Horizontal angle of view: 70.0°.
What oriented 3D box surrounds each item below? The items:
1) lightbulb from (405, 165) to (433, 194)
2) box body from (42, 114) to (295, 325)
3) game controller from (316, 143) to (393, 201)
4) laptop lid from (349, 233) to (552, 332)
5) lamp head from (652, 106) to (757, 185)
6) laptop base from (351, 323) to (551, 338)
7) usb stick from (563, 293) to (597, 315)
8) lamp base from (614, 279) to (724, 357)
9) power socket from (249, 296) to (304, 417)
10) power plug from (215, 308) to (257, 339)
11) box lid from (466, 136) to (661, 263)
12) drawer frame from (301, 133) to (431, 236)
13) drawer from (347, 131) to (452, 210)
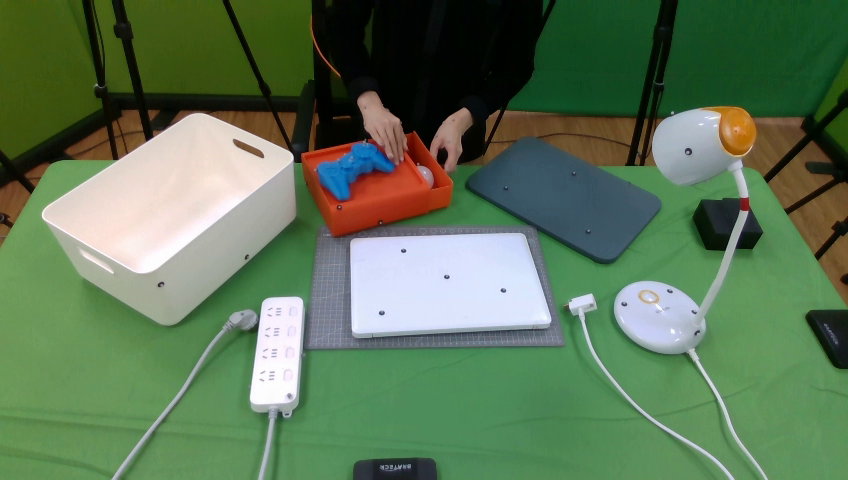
[{"bbox_3d":[-0.023,-0.112,1.273,0.059,0.060,0.107,27,61,20],"label":"lightbulb"},{"bbox_3d":[-0.437,-0.046,1.110,0.253,0.161,0.363,24,49,19],"label":"box body"},{"bbox_3d":[-0.143,-0.146,1.212,0.096,0.052,0.155,32,50,29],"label":"game controller"},{"bbox_3d":[0.040,0.070,1.119,0.357,0.013,0.240,-1,44,-5],"label":"laptop lid"},{"bbox_3d":[0.410,-0.139,0.869,0.113,0.122,0.112,0,89,-19],"label":"lamp head"},{"bbox_3d":[0.040,0.080,1.125,0.355,0.023,0.234,-2,43,-6],"label":"laptop base"},{"bbox_3d":[0.280,0.118,1.093,0.059,0.021,0.027,-18,35,25],"label":"usb stick"},{"bbox_3d":[0.436,0.090,1.035,0.161,0.181,0.178,-23,55,-23],"label":"lamp base"},{"bbox_3d":[-0.239,0.182,0.996,0.072,0.033,0.225,-2,47,-5],"label":"power socket"},{"bbox_3d":[-0.317,0.143,1.024,0.072,0.053,0.035,-32,58,-8],"label":"power plug"},{"bbox_3d":[0.306,-0.102,1.327,0.370,0.015,0.263,32,52,25],"label":"box lid"},{"bbox_3d":[-0.122,-0.120,1.260,0.214,0.083,0.200,-16,50,-20],"label":"drawer frame"},{"bbox_3d":[-0.076,-0.132,1.278,0.212,0.073,0.193,-16,50,-21],"label":"drawer"}]
